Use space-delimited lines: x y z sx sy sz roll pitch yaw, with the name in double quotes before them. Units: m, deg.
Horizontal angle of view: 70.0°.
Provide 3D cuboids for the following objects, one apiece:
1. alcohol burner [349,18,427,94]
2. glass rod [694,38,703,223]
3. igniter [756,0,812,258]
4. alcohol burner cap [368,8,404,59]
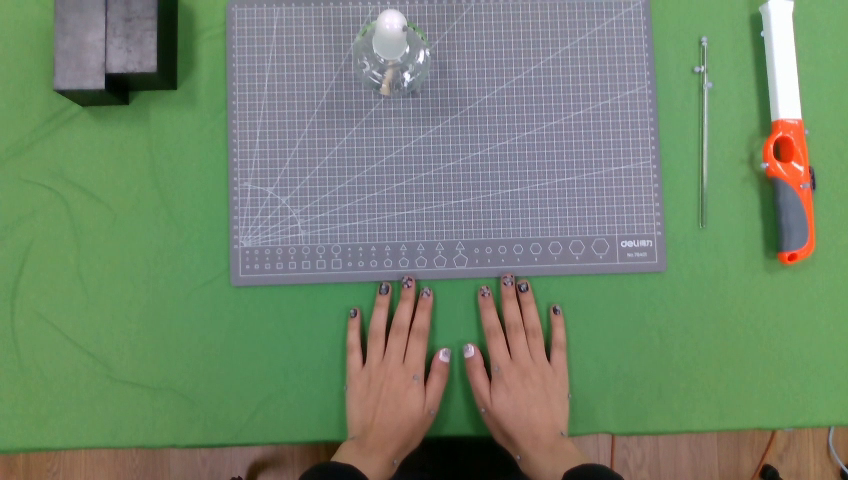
"alcohol burner" -0.035 -0.185 0.584 0.078 0.119 0.077 0 84 -3
"glass rod" 0.291 -0.117 0.642 0.008 0.008 0.199 3 86 -1
"igniter" 0.375 -0.119 0.635 0.057 0.025 0.276 -1 86 -12
"alcohol burner cap" -0.033 -0.190 0.548 0.034 0.048 0.033 2 79 -8
